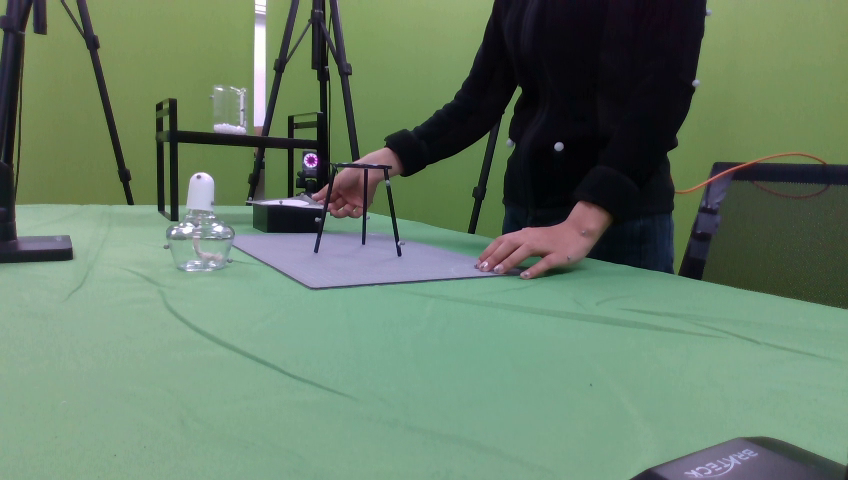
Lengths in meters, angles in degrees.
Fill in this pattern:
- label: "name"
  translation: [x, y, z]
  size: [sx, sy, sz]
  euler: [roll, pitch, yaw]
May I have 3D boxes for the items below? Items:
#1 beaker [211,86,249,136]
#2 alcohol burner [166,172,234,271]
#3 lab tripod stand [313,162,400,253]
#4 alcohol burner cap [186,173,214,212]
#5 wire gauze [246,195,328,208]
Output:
- label: "beaker"
  translation: [-0.413, -0.274, 1.297]
  size: [0.074, 0.100, 0.083]
  euler: [-5, 11, -44]
- label: "alcohol burner"
  translation: [-0.271, -0.023, 0.735]
  size: [0.078, 0.119, 0.078]
  euler: [2, 5, 0]
- label: "lab tripod stand"
  translation: [-0.097, -0.051, 0.906]
  size: [0.148, 0.131, 0.148]
  euler: [1, 6, 0]
- label: "alcohol burner cap"
  translation: [-0.268, -0.057, 0.730]
  size: [0.034, 0.048, 0.034]
  euler: [5, 2, 0]
- label: "wire gauze"
  translation: [-0.260, -0.072, 1.138]
  size: [0.126, 0.011, 0.121]
  euler: [-4, 12, -29]
